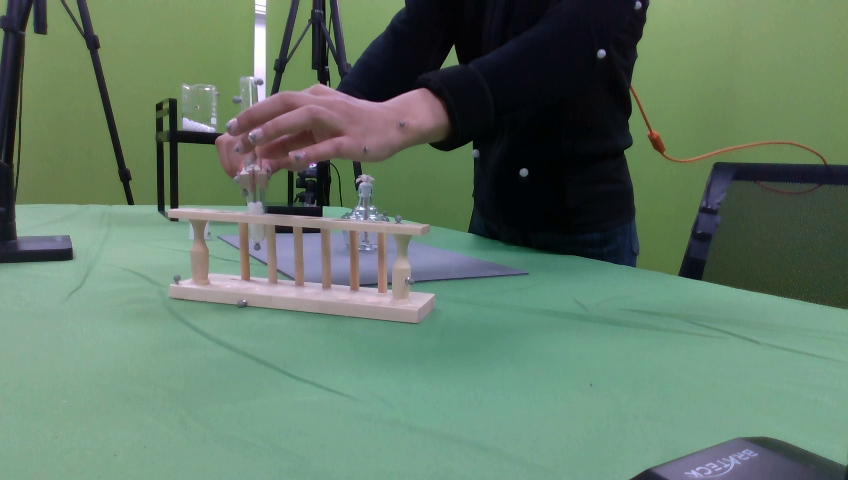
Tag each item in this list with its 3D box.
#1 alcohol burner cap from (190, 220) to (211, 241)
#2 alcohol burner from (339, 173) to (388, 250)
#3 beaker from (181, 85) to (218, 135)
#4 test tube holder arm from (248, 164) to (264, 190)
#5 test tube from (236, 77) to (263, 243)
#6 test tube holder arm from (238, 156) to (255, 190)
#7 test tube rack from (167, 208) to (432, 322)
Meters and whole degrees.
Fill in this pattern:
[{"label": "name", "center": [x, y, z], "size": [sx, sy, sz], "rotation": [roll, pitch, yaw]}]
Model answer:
[{"label": "alcohol burner cap", "center": [-0.365, -0.023, 0.987], "size": [0.034, 0.048, 0.034], "rotation": [2, 8, 0]}, {"label": "alcohol burner", "center": [-0.094, -0.045, 0.938], "size": [0.078, 0.119, 0.078], "rotation": [0, 7, 0]}, {"label": "beaker", "center": [-0.479, -0.276, 1.290], "size": [0.074, 0.100, 0.084], "rotation": [2, 8, -1]}, {"label": "test tube holder arm", "center": [-0.162, -0.061, 0.579], "size": [0.010, 0.015, 0.087], "rotation": [3, 13, -22]}, {"label": "test tube", "center": [-0.160, -0.072, 0.554], "size": [0.017, 0.150, 0.017], "rotation": [-1, 8, 0]}, {"label": "test tube holder arm", "center": [-0.181, -0.072, 0.619], "size": [0.013, 0.015, 0.178], "rotation": [5, 12, -16]}, {"label": "test tube rack", "center": [-0.116, 0.018, 0.573], "size": [0.242, 0.085, 0.067], "rotation": [4, 8, 13]}]
